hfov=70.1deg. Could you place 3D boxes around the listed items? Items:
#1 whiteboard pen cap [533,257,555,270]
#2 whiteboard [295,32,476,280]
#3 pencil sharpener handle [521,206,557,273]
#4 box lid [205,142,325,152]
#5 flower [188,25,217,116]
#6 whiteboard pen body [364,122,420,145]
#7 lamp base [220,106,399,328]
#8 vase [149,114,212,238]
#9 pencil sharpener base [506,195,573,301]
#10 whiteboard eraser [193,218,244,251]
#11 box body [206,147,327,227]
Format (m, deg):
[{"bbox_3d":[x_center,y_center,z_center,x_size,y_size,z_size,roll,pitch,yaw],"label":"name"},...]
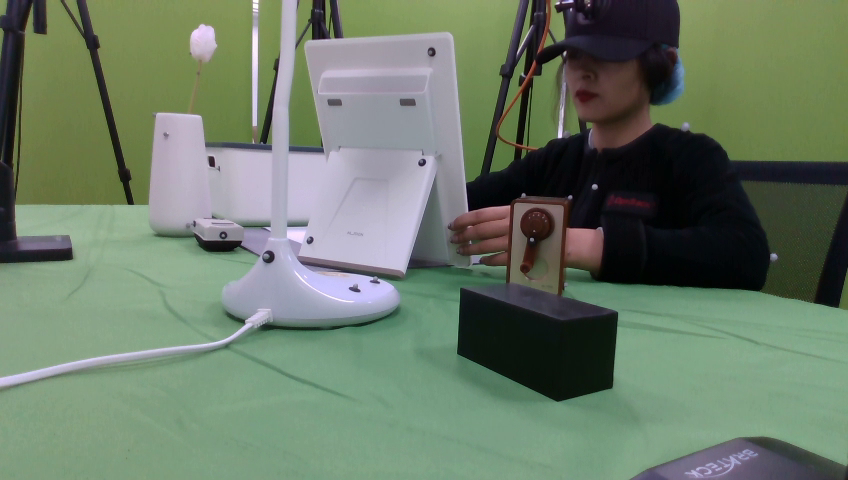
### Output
[{"bbox_3d":[0.166,0.032,0.839,0.018,0.018,0.033,-1,5,-23],"label":"whiteboard pen cap"},{"bbox_3d":[-0.076,-0.084,0.747,0.216,0.305,0.144,7,28,29],"label":"whiteboard"},{"bbox_3d":[0.111,0.000,0.612,0.036,0.067,0.031,14,10,13],"label":"pencil sharpener handle"},{"bbox_3d":[-0.270,-0.196,1.310,0.373,0.015,0.262,-2,9,-30],"label":"box lid"},{"bbox_3d":[-0.394,-0.189,1.011,0.044,0.361,0.038,-1,-13,27],"label":"flower"},{"bbox_3d":[-0.045,-0.152,0.858,0.017,0.017,0.141,6,3,28],"label":"whiteboard pen body"},{"bbox_3d":[-0.102,-0.023,0.531,0.160,0.180,0.179,4,10,10],"label":"lamp base"},{"bbox_3d":[-0.405,-0.106,1.005,0.098,0.200,0.098,2,6,0],"label":"vase"},{"bbox_3d":[0.127,0.007,0.662,0.061,0.107,0.077,5,8,15],"label":"pencil sharpener base"},{"bbox_3d":[-0.307,-0.009,0.900,0.056,0.042,0.112,-3,10,-29],"label":"whiteboard eraser"},{"bbox_3d":[-0.276,-0.122,1.320,0.366,0.160,0.253,-2,9,-30],"label":"box body"}]
